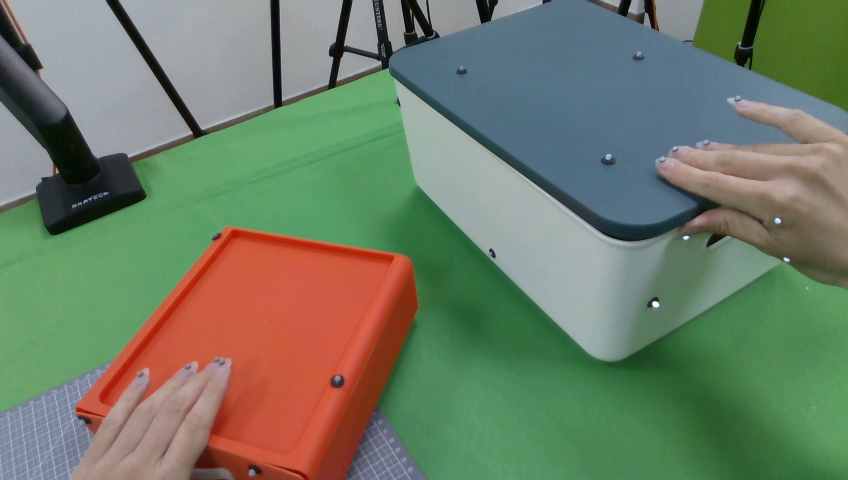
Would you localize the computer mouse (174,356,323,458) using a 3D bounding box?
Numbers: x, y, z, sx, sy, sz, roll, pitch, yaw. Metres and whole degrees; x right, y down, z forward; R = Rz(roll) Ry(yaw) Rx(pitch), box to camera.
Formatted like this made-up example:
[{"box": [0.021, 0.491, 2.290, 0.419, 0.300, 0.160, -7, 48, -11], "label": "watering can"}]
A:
[{"box": [-0.144, 0.134, 0.498, 0.117, 0.041, 0.062, 13, 42, 12], "label": "computer mouse"}]

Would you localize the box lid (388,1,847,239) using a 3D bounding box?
[{"box": [0.155, -0.139, 0.558, 0.263, 0.015, 0.367, -24, 44, -20], "label": "box lid"}]

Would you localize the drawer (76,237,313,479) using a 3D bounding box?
[{"box": [-0.135, 0.099, 0.515, 0.194, 0.074, 0.210, 8, 44, 17], "label": "drawer"}]

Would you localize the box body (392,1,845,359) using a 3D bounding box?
[{"box": [0.161, -0.083, 0.613, 0.254, 0.162, 0.360, -25, 45, -19], "label": "box body"}]

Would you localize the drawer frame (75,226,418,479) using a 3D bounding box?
[{"box": [-0.135, 0.095, 0.516, 0.201, 0.083, 0.212, 8, 44, 17], "label": "drawer frame"}]
